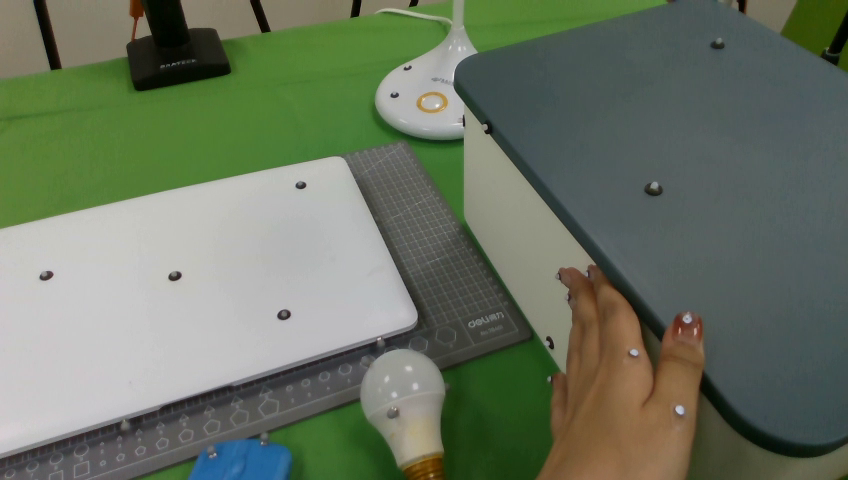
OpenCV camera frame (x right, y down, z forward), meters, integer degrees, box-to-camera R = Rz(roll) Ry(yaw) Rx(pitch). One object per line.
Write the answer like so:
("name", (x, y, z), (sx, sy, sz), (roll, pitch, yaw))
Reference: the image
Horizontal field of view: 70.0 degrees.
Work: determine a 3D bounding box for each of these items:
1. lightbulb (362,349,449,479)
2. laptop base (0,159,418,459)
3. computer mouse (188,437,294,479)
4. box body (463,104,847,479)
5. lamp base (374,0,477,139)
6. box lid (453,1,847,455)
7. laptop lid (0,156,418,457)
("lightbulb", (-0.007, 0.128, 0.418), (0.059, 0.060, 0.106), (-12, 62, -13))
("laptop base", (-0.207, 0.040, 0.522), (0.355, 0.023, 0.233), (-15, 50, -16))
("computer mouse", (-0.123, 0.175, 0.377), (0.063, 0.041, 0.116), (1, 41, 3))
("box body", (0.206, 0.003, 0.467), (0.255, 0.162, 0.359), (-16, 47, -16))
("lamp base", (0.022, -0.235, 0.691), (0.160, 0.182, 0.178), (9, 43, 8))
("box lid", (0.201, -0.060, 0.404), (0.264, 0.015, 0.367), (-18, 47, -13))
("laptop lid", (-0.207, 0.033, 0.512), (0.357, 0.013, 0.239), (-14, 49, -15))
